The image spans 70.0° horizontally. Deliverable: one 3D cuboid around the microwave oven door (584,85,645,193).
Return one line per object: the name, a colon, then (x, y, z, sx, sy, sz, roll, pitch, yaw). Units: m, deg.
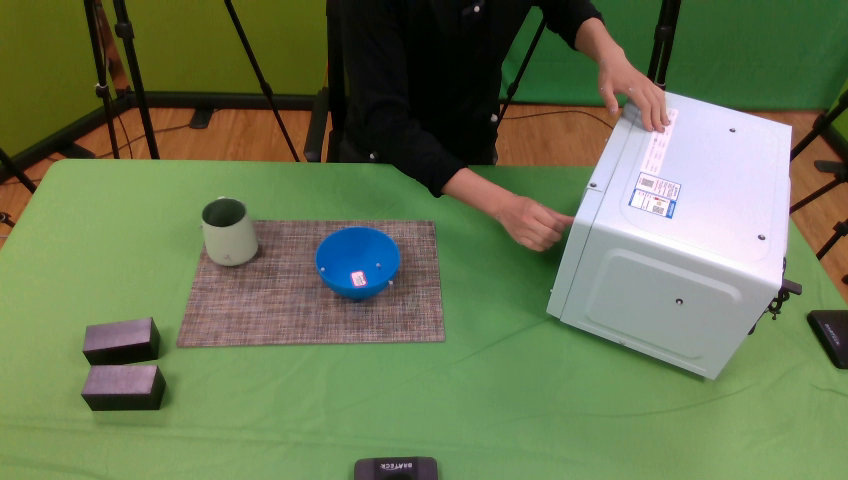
microwave oven door: (0.341, -0.108, 1.149, 0.039, 0.245, 0.354, 21, 48, 16)

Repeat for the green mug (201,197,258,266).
green mug: (-0.366, -0.025, 1.130, 0.092, 0.105, 0.124, -13, 48, -16)

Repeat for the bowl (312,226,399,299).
bowl: (-0.120, 0.054, 1.091, 0.151, 0.077, 0.150, 2, 46, -2)

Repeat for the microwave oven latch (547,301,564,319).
microwave oven latch: (0.243, 0.102, 1.081, 0.030, 0.029, 0.079, 21, 48, 17)

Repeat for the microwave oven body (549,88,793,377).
microwave oven body: (0.457, -0.028, 1.088, 0.325, 0.261, 0.440, 20, 47, 16)
